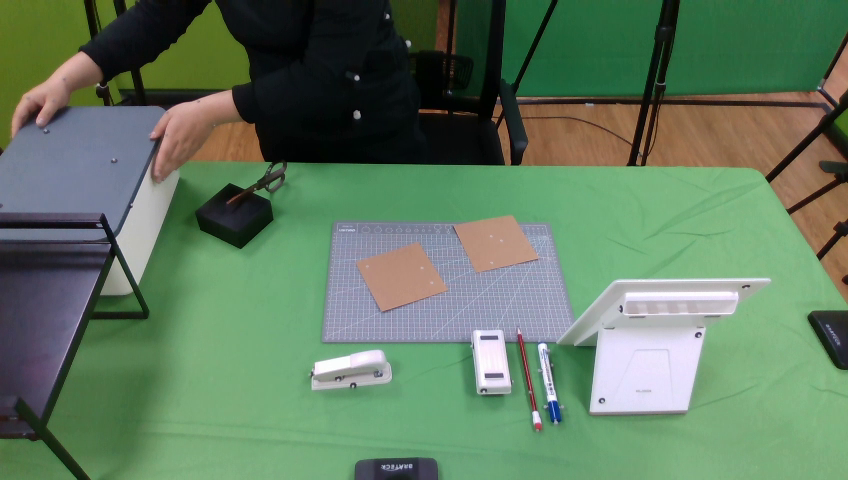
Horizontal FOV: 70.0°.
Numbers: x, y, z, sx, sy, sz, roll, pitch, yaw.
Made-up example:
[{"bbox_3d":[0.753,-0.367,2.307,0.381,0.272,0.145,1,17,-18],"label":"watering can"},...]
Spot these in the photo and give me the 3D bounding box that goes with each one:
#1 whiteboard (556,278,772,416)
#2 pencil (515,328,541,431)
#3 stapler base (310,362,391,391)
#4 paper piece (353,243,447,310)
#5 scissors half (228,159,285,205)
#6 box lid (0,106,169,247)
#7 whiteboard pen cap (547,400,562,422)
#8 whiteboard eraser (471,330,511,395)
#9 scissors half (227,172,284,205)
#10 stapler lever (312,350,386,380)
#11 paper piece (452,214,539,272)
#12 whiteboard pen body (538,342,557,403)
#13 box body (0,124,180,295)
[{"bbox_3d":[0.347,0.174,0.903,0.217,0.306,0.143,1,65,-4],"label":"whiteboard"},{"bbox_3d":[0.169,0.224,1.002,0.012,0.012,0.192,-1,46,-6],"label":"pencil"},{"bbox_3d":[-0.119,0.215,0.980,0.131,0.024,0.041,-5,44,-7],"label":"stapler base"},{"bbox_3d":[-0.045,0.066,1.137,0.136,0.009,0.137,-14,47,-22],"label":"paper piece"},{"bbox_3d":[-0.336,-0.117,1.217,0.013,0.040,0.175,26,46,13],"label":"scissors half"},{"bbox_3d":[-0.624,-0.125,1.067,0.263,0.015,0.369,0,46,-3],"label":"box lid"},{"bbox_3d":[0.205,0.269,0.956,0.018,0.018,0.033,0,47,-5],"label":"whiteboard pen cap"},{"bbox_3d":[0.110,0.202,0.998,0.055,0.042,0.112,1,46,-5],"label":"whiteboard eraser"},{"bbox_3d":[-0.339,-0.101,1.230,0.013,0.040,0.175,22,28,16],"label":"scissors half"},{"bbox_3d":[-0.120,0.198,0.963,0.118,0.040,0.026,-4,44,-8],"label":"stapler lever"},{"bbox_3d":[0.142,0.002,1.213,0.135,0.004,0.135,-11,47,-14],"label":"paper piece"},{"bbox_3d":[0.205,0.228,0.997,0.017,0.017,0.140,1,46,-3],"label":"whiteboard pen body"},{"bbox_3d":[-0.628,-0.075,1.122,0.254,0.161,0.361,1,46,-4],"label":"box body"}]
